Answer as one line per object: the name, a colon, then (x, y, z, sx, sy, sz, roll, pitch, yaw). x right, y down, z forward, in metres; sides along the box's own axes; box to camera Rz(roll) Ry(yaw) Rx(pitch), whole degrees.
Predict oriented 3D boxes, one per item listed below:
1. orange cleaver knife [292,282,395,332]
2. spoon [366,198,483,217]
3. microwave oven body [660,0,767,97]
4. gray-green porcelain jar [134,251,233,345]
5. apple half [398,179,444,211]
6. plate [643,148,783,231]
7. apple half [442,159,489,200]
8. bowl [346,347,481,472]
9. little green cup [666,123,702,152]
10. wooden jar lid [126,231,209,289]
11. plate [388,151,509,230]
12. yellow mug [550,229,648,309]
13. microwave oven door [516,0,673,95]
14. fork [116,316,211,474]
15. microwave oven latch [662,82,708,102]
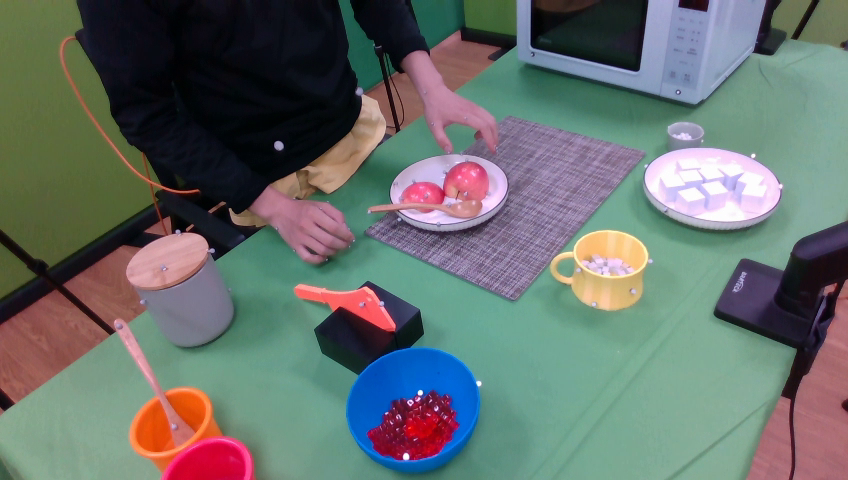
orange cleaver knife: (-0.116, 0.091, 0.835, 0.209, 0.077, 0.012, 2, 32, 48)
spoon: (0.001, -0.056, 0.998, 0.194, 0.022, 0.041, 2, 52, -9)
microwave oven body: (0.473, -0.517, 1.314, 0.438, 0.261, 0.327, 26, 51, 34)
gray-green porcelain jar: (-0.334, 0.076, 0.849, 0.106, 0.127, 0.105, -4, 41, 4)
apple half: (-0.004, -0.087, 1.046, 0.081, 0.033, 0.081, -2, 43, 2)
plate: (0.464, -0.079, 0.986, 0.207, 0.039, 0.206, -4, 40, 4)
apple half: (0.074, -0.110, 1.047, 0.080, 0.053, 0.075, 22, 45, 29)
bowl: (-0.008, 0.205, 0.691, 0.151, 0.077, 0.150, -4, 40, 4)
little green cup: (0.472, -0.183, 1.102, 0.061, 0.039, 0.061, -5, 41, 5)
wooden jar lid: (-0.340, 0.030, 0.808, 0.108, 0.021, 0.108, -5, 39, 5)
plate: (0.044, -0.082, 1.043, 0.209, 0.038, 0.208, -4, 40, 4)
yellow mug: (0.245, 0.040, 0.857, 0.130, 0.064, 0.099, 1, 42, 11)
microwave oven door: (0.344, -0.458, 1.256, 0.353, 0.245, 0.039, 26, 51, 33)
fork: (-0.308, 0.179, 0.708, 0.028, 0.018, 0.207, -30, 89, -15)
microwave oven latch: (0.517, -0.298, 1.203, 0.078, 0.029, 0.030, 28, 53, 35)
